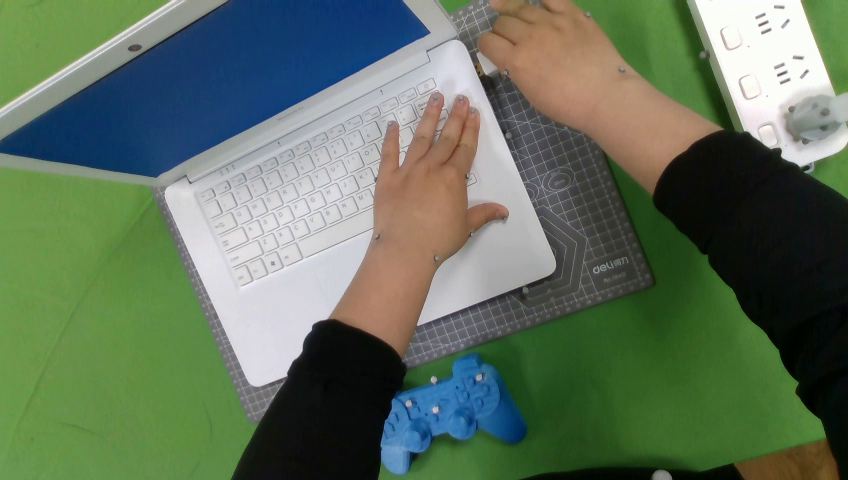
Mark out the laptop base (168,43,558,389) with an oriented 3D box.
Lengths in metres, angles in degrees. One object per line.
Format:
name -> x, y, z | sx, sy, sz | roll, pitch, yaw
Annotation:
laptop base -> -0.073, -0.012, 0.605 | 0.354, 0.023, 0.235 | -23, 94, 16

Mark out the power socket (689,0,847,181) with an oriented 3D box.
power socket -> 0.272, -0.156, 0.489 | 0.072, 0.032, 0.226 | -21, 91, 18

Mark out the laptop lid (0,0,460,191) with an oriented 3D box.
laptop lid -> -0.156, -0.122, 0.489 | 0.356, 0.242, 0.013 | -24, 82, 17

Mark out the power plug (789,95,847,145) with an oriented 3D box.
power plug -> 0.321, -0.095, 0.465 | 0.072, 0.052, 0.035 | -11, 93, 12

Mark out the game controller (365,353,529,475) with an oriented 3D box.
game controller -> 0.016, 0.173, 0.593 | 0.155, 0.052, 0.097 | -22, 87, 16

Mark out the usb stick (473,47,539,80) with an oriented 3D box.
usb stick -> 0.072, -0.158, 0.545 | 0.059, 0.027, 0.021 | -6, 94, 2
